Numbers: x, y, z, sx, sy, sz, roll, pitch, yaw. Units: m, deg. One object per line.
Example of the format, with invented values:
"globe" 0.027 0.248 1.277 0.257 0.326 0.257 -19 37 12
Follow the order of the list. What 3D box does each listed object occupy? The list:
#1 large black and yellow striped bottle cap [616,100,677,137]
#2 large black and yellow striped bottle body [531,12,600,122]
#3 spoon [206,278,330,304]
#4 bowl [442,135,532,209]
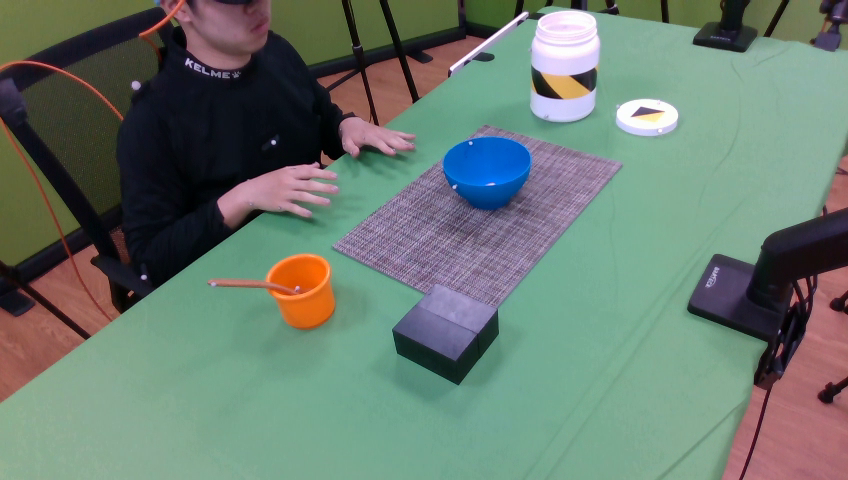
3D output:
"large black and yellow striped bottle cap" 0.438 -0.241 1.190 0.115 0.019 0.114 -4 42 4
"large black and yellow striped bottle body" 0.279 -0.344 1.202 0.131 0.185 0.130 -4 41 4
"spoon" -0.207 0.066 0.824 0.041 0.195 0.021 34 100 40
"bowl" 0.108 -0.106 1.026 0.151 0.077 0.150 -4 41 4
